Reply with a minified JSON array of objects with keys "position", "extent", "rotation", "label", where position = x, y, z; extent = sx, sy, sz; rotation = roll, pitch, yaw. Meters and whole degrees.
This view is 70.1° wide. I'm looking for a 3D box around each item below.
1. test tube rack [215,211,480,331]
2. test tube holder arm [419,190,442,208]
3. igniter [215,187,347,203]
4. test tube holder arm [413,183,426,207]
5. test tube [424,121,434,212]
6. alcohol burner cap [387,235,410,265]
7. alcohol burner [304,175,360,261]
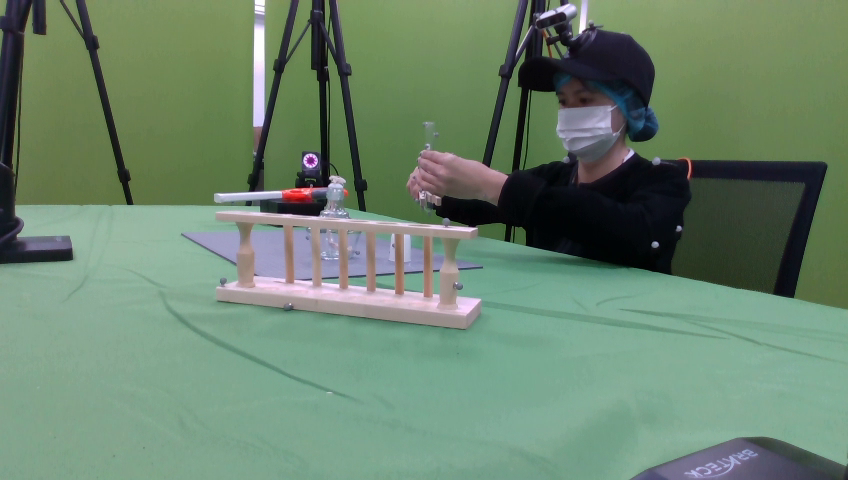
[{"position":[-0.071,0.022,0.565],"extent":[0.242,0.085,0.067],"rotation":[5,7,16],"label":"test tube rack"},{"position":[0.007,-0.071,1.041],"extent":[0.010,0.015,0.087],"rotation":[1,15,-27],"label":"test tube holder arm"},{"position":[-0.293,-0.095,1.267],"extent":[0.278,0.025,0.057],"rotation":[-6,12,-34],"label":"igniter"},{"position":[-0.009,-0.082,1.081],"extent":[0.013,0.015,0.178],"rotation":[7,13,-8],"label":"test tube holder arm"},{"position":[0.008,-0.119,0.993],"extent":[0.017,0.150,0.017],"rotation":[1,16,0],"label":"test tube"},{"position":[-0.035,0.009,0.839],"extent":[0.034,0.048,0.034],"rotation":[2,6,0],"label":"alcohol burner cap"},{"position":[-0.126,-0.031,0.838],"extent":[0.078,0.119,0.078],"rotation":[3,5,0],"label":"alcohol burner"}]
